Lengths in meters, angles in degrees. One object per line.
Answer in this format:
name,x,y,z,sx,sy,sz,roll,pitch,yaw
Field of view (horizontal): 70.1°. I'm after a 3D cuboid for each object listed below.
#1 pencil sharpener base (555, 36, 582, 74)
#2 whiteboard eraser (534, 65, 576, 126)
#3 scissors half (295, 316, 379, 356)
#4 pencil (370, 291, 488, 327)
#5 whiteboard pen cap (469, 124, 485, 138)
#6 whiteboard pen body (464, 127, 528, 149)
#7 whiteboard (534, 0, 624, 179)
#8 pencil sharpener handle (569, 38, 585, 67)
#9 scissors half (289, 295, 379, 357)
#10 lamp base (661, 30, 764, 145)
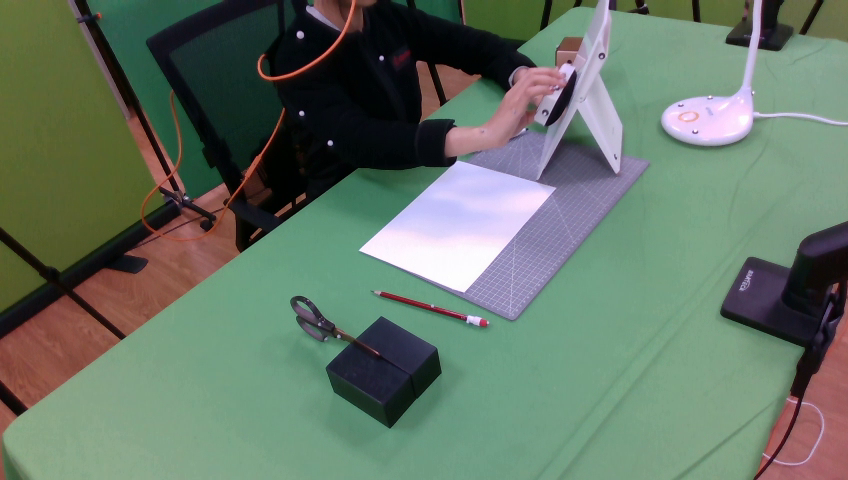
pencil sharpener base,0.318,-0.371,1.290,0.061,0.107,0.076,10,44,22
whiteboard eraser,0.216,-0.234,0.979,0.042,0.055,0.112,26,49,7
scissors half,-0.119,0.132,0.813,0.174,0.040,0.013,9,34,45
pencil,0.003,0.097,0.877,0.193,0.012,0.012,13,45,26
whiteboard pen cap,0.107,-0.220,1.224,0.033,0.018,0.018,-38,48,-24
whiteboard pen body,0.144,-0.204,1.192,0.141,0.017,0.017,-19,41,-15
whiteboard,0.320,-0.258,1.049,0.144,0.306,0.217,20,44,3
pencil sharpener handle,0.332,-0.413,1.317,0.036,0.068,0.030,19,47,12
scissors half,-0.122,0.114,0.803,0.174,0.040,0.013,26,50,32
lamp base,0.535,-0.287,1.096,0.179,0.181,0.159,-10,40,-4
